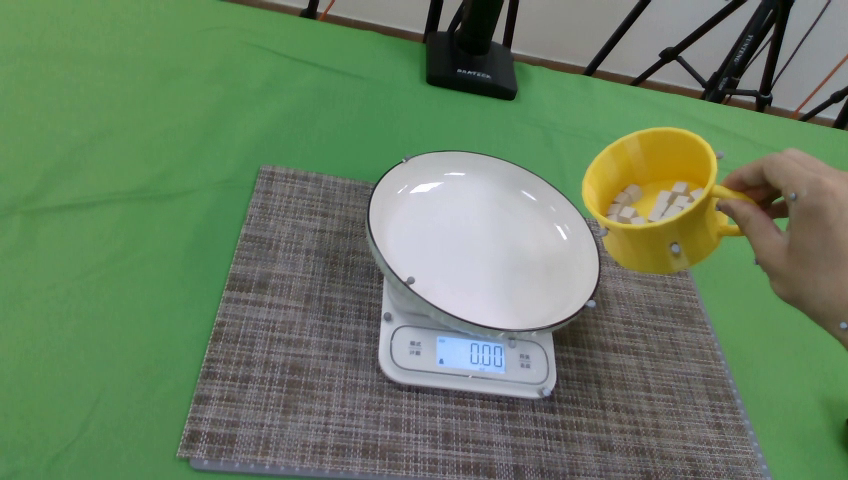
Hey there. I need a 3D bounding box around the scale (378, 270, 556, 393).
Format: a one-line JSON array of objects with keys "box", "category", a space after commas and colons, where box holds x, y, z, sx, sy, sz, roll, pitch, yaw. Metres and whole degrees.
[{"box": [0.039, 0.034, 0.536, 0.149, 0.032, 0.199, 9, 48, -9], "category": "scale"}]

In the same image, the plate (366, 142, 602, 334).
[{"box": [0.051, -0.004, 0.529, 0.210, 0.038, 0.207, 9, 48, -10], "category": "plate"}]

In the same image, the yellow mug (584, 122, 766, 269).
[{"box": [0.197, -0.033, 0.476, 0.130, 0.065, 0.099, 14, 66, 40], "category": "yellow mug"}]
